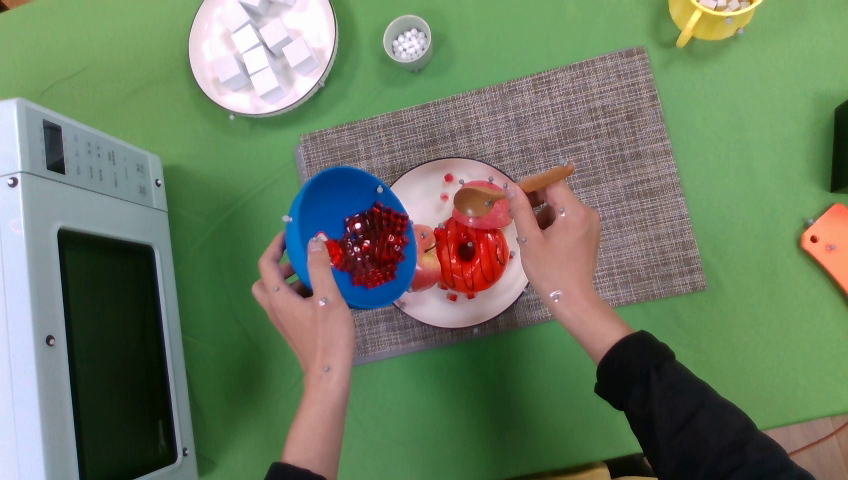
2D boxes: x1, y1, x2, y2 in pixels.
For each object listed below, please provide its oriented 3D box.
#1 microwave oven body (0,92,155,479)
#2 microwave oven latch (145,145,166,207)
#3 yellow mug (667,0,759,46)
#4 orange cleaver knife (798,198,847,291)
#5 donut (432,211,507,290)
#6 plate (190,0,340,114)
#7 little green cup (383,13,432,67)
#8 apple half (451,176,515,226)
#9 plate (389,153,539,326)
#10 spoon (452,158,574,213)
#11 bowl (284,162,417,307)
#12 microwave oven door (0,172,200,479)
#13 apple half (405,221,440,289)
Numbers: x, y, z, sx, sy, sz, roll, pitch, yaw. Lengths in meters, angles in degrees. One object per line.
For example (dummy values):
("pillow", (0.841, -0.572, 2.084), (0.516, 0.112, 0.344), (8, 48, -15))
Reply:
("microwave oven body", (-0.495, 0.107, 0.706), (0.326, 0.261, 0.440), (-11, 83, 9))
("microwave oven latch", (-0.363, -0.083, 0.800), (0.030, 0.029, 0.079), (-10, 83, 9))
("yellow mug", (0.330, -0.282, 0.699), (0.099, 0.064, 0.131), (35, 92, 12))
("orange cleaver knife", (0.492, 0.054, 0.660), (0.077, 0.012, 0.210), (-28, 79, 1))
("donut", (0.050, 0.011, 0.720), (0.099, 0.048, 0.099), (0, 88, 10))
("plate", (-0.209, -0.266, 0.809), (0.207, 0.039, 0.207), (-1, 84, 10))
("little green cup", (-0.019, -0.252, 0.773), (0.061, 0.039, 0.061), (-1, 84, 11))
("apple half", (0.071, -0.052, 0.707), (0.081, 0.033, 0.080), (1, 45, -1))
("plate", (0.035, -0.001, 0.735), (0.209, 0.038, 0.208), (-1, 84, 10))
("spoon", (0.083, -0.052, 0.598), (0.042, 0.193, 0.021), (44, 70, -16))
("bowl", (-0.089, 0.003, 0.629), (0.076, 0.152, 0.151), (-22, 78, 43))
("microwave oven door", (-0.348, 0.120, 0.673), (0.039, 0.245, 0.354), (-11, 82, 9))
("apple half", (-0.025, 0.018, 0.712), (0.074, 0.054, 0.080), (-16, 77, 49))
